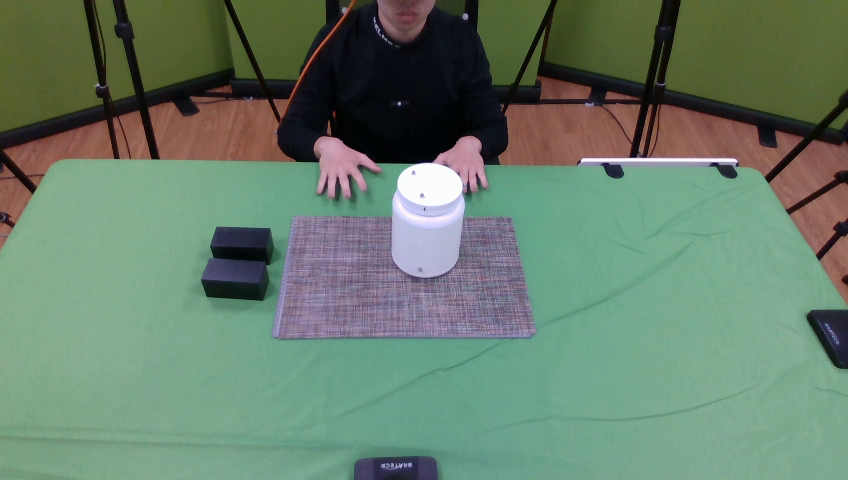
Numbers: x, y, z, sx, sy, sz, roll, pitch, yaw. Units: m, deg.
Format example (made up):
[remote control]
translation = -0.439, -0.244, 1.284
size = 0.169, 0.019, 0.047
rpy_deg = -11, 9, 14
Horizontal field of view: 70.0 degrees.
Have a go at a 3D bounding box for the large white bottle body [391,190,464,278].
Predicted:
[large white bottle body]
translation = 0.005, -0.034, 1.114
size = 0.131, 0.185, 0.130
rpy_deg = 2, 46, -2

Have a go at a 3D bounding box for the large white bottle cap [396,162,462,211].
[large white bottle cap]
translation = 0.009, -0.094, 1.053
size = 0.115, 0.018, 0.114
rpy_deg = 2, 46, -2
